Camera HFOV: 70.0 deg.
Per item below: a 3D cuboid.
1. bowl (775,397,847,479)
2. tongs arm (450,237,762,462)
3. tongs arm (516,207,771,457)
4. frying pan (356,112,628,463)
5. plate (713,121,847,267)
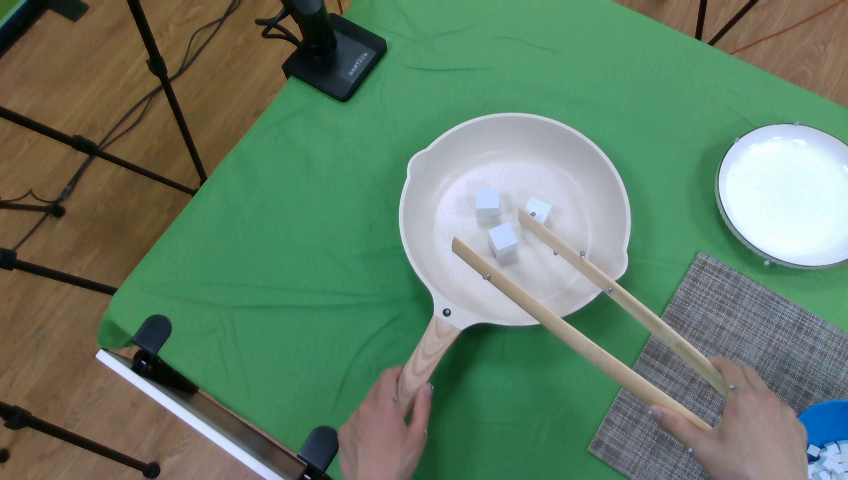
[{"bbox_3d":[0.455,0.253,0.669,0.151,0.077,0.150,-1,70,3],"label":"bowl"},{"bbox_3d":[0.161,0.099,0.640,0.028,0.028,0.383,-25,47,-34],"label":"tongs arm"},{"bbox_3d":[0.211,0.076,0.667,0.051,0.027,0.380,-22,46,-27],"label":"tongs arm"},{"bbox_3d":[0.057,0.053,0.751,0.305,0.103,0.486,29,66,13],"label":"frying pan"},{"bbox_3d":[0.489,-0.060,0.805,0.207,0.039,0.206,-1,70,3],"label":"plate"}]
